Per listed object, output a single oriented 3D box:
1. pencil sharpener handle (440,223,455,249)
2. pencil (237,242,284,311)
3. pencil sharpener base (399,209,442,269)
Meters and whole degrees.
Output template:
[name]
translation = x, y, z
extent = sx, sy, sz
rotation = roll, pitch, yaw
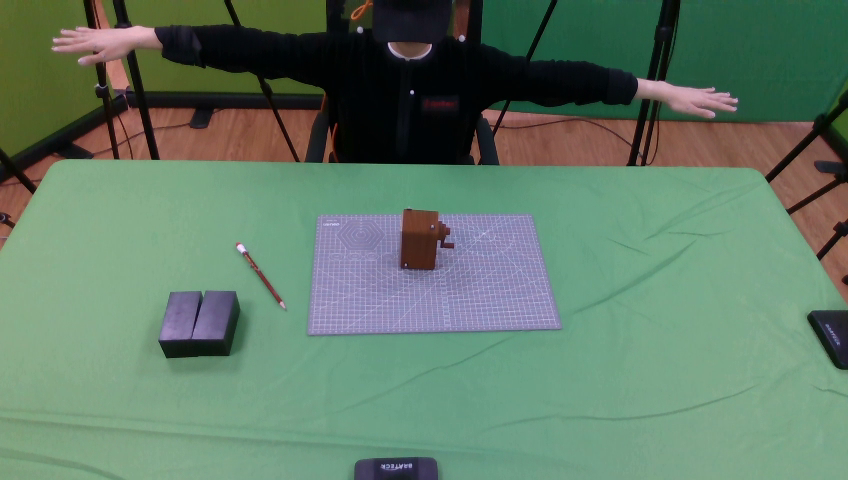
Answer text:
[pencil sharpener handle]
translation = 0.045, -0.007, 1.127
extent = 0.030, 0.068, 0.036
rotation = 3, 52, -1
[pencil]
translation = -0.303, 0.066, 1.122
extent = 0.012, 0.012, 0.193
rotation = -26, 54, -26
[pencil sharpener base]
translation = -0.007, 0.000, 1.134
extent = 0.077, 0.107, 0.061
rotation = 3, 46, -1
